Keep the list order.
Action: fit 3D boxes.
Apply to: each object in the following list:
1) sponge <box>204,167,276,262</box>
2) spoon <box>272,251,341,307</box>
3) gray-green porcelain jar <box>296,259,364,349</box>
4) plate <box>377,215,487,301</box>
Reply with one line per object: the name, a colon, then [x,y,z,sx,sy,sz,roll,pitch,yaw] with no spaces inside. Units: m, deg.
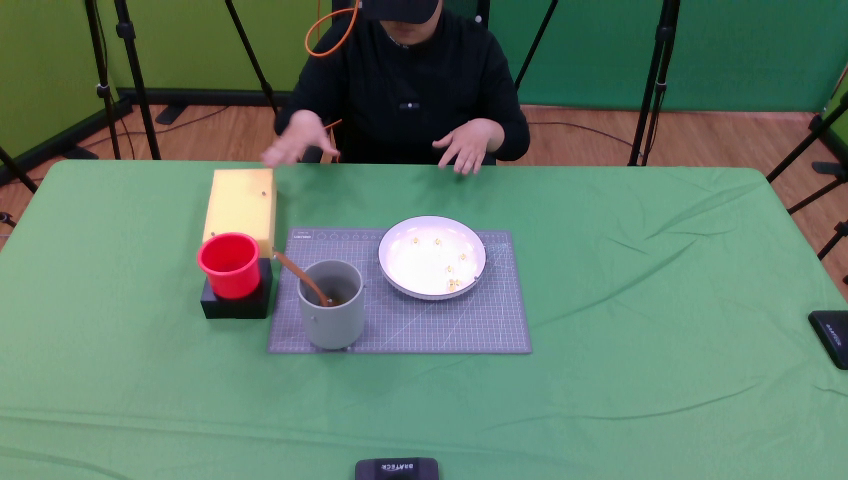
sponge: [-0.358,-0.054,1.196,0.118,0.061,0.205,-4,47,-7]
spoon: [-0.180,0.077,0.981,0.021,0.195,0.041,-9,46,28]
gray-green porcelain jar: [-0.152,0.111,1.003,0.106,0.127,0.105,2,46,-2]
plate: [0.014,0.037,1.147,0.208,0.039,0.206,2,46,-2]
